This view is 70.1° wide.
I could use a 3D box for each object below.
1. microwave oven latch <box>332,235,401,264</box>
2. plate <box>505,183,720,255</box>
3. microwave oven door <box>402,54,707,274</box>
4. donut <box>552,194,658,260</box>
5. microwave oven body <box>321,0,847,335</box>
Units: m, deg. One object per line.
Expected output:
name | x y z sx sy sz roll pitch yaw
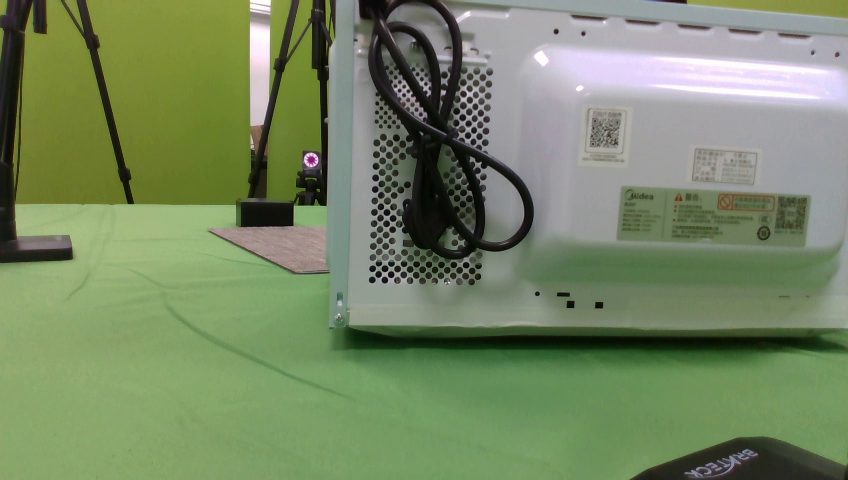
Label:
microwave oven latch | -0.066 0.010 0.701 0.079 0.029 0.030 2 7 -8
plate | 0.184 -0.023 0.616 0.209 0.038 0.209 5 14 -1
microwave oven door | 0.157 -0.085 0.717 0.357 0.243 0.039 1 8 -8
donut | 0.171 -0.015 0.575 0.099 0.048 0.099 -10 15 3
microwave oven body | 0.133 -0.062 0.568 0.443 0.260 0.325 2 7 -8
